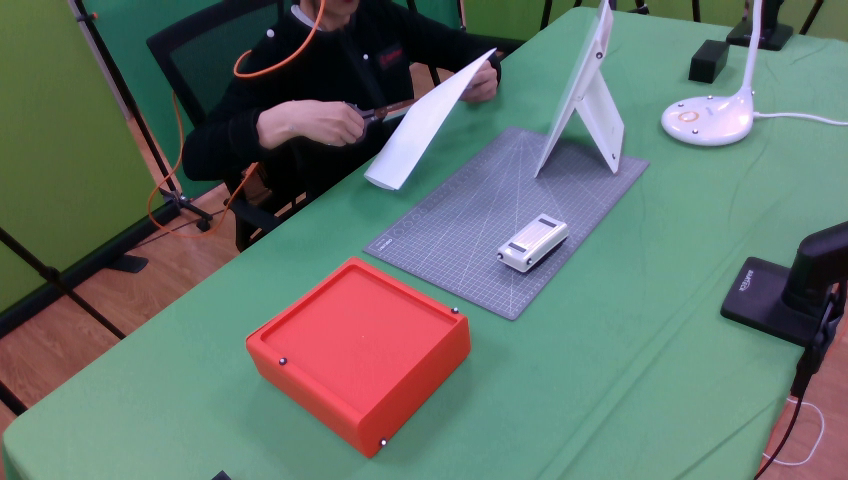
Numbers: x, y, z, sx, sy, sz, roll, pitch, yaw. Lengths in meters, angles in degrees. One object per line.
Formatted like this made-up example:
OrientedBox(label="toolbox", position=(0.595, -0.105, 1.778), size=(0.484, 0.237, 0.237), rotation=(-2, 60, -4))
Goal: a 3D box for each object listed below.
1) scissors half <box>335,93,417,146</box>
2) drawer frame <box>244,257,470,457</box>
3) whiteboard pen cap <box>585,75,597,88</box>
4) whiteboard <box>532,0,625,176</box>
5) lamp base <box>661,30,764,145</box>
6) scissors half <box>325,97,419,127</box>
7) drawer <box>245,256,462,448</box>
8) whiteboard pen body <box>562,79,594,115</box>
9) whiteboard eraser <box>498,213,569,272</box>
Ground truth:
OrientedBox(label="scissors half", position=(-0.084, -0.220, 1.092), size=(0.175, 0.013, 0.040), rotation=(-37, 88, -14))
OrientedBox(label="drawer frame", position=(-0.084, 0.138, 0.788), size=(0.212, 0.083, 0.202), rotation=(25, 50, 33))
OrientedBox(label="whiteboard pen cap", position=(0.362, -0.343, 1.310), size=(0.018, 0.018, 0.033), rotation=(20, 54, 30))
OrientedBox(label="whiteboard", position=(0.320, -0.259, 1.050), size=(0.144, 0.306, 0.217), rotation=(21, 45, 5))
OrientedBox(label="lamp base", position=(0.535, -0.287, 1.096), size=(0.179, 0.181, 0.159), rotation=(-10, 40, -4))
OrientedBox(label="scissors half", position=(-0.093, -0.239, 1.095), size=(0.176, 0.013, 0.040), rotation=(-14, 78, -12))
OrientedBox(label="drawer", position=(-0.089, 0.136, 0.792), size=(0.210, 0.073, 0.195), rotation=(26, 51, 34))
OrientedBox(label="whiteboard pen body", position=(0.328, -0.306, 1.278), size=(0.017, 0.017, 0.141), rotation=(20, 52, 30))
OrientedBox(label="whiteboard eraser", position=(0.168, 0.006, 0.924), size=(0.113, 0.042, 0.055), rotation=(-36, 48, -28))
